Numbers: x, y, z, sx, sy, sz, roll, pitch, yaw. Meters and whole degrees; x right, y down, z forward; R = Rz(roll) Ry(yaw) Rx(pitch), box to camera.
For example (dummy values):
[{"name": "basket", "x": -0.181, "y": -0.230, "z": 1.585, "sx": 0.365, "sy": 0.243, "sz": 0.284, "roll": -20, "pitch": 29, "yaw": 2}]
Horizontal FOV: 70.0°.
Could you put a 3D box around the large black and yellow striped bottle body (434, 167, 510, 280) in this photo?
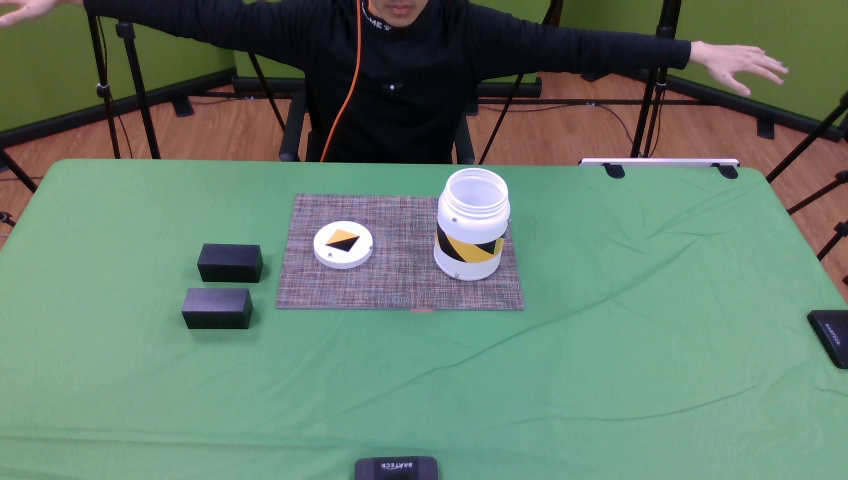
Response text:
[{"name": "large black and yellow striped bottle body", "x": 0.087, "y": -0.031, "z": 1.114, "sx": 0.131, "sy": 0.185, "sz": 0.130, "roll": 2, "pitch": 46, "yaw": -2}]

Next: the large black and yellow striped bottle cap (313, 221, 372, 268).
[{"name": "large black and yellow striped bottle cap", "x": -0.158, "y": 0.007, "z": 1.176, "sx": 0.115, "sy": 0.019, "sz": 0.114, "roll": 2, "pitch": 45, "yaw": -2}]
